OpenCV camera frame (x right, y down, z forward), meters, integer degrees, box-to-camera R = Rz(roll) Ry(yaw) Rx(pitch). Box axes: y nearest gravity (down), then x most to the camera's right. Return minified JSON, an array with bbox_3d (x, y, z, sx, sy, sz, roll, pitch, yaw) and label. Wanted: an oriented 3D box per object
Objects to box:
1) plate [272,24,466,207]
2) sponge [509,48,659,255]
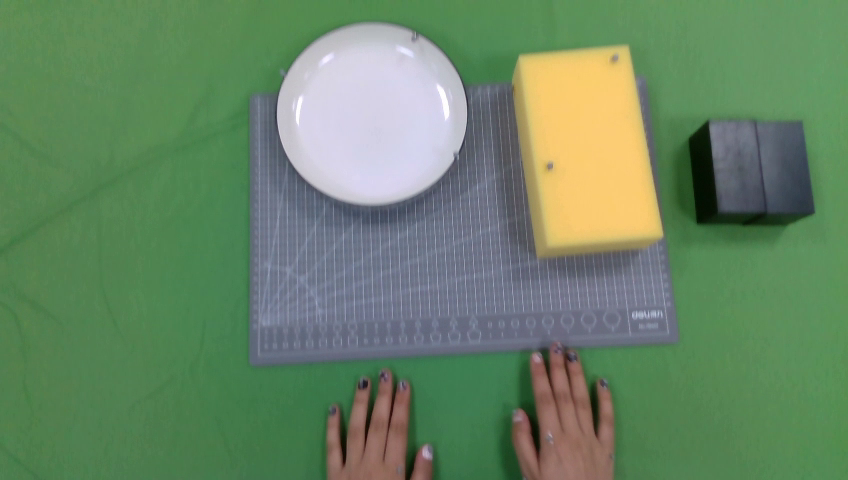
[{"bbox_3d":[-0.058,-0.133,0.665,0.209,0.038,0.208,0,79,-1],"label":"plate"},{"bbox_3d":[0.166,-0.093,0.647,0.118,0.061,0.206,-7,78,-2],"label":"sponge"}]
